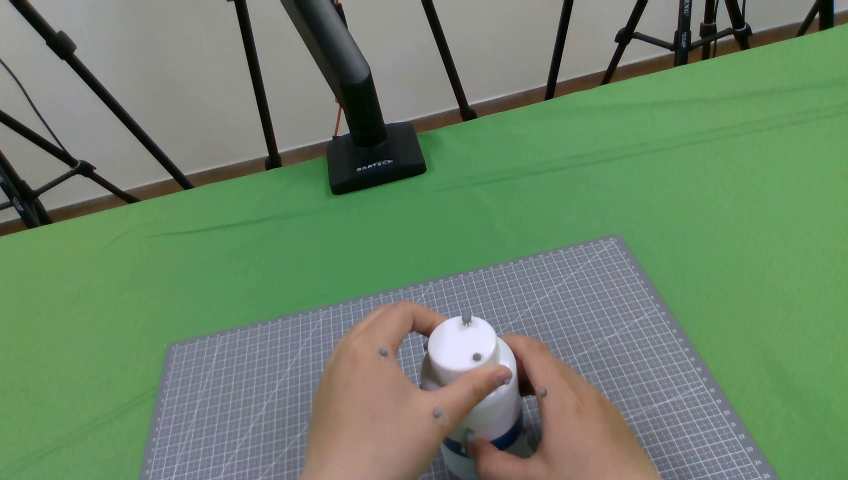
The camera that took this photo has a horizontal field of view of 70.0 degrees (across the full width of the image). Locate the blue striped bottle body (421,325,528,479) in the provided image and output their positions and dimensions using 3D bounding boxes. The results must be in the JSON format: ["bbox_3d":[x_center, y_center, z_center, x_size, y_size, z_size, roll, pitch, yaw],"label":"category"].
[{"bbox_3d":[0.034,0.108,0.408,0.063,0.122,0.062,-8,41,7],"label":"blue striped bottle body"}]

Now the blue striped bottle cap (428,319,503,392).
[{"bbox_3d":[0.025,0.070,0.374,0.044,0.021,0.044,-10,39,9],"label":"blue striped bottle cap"}]
